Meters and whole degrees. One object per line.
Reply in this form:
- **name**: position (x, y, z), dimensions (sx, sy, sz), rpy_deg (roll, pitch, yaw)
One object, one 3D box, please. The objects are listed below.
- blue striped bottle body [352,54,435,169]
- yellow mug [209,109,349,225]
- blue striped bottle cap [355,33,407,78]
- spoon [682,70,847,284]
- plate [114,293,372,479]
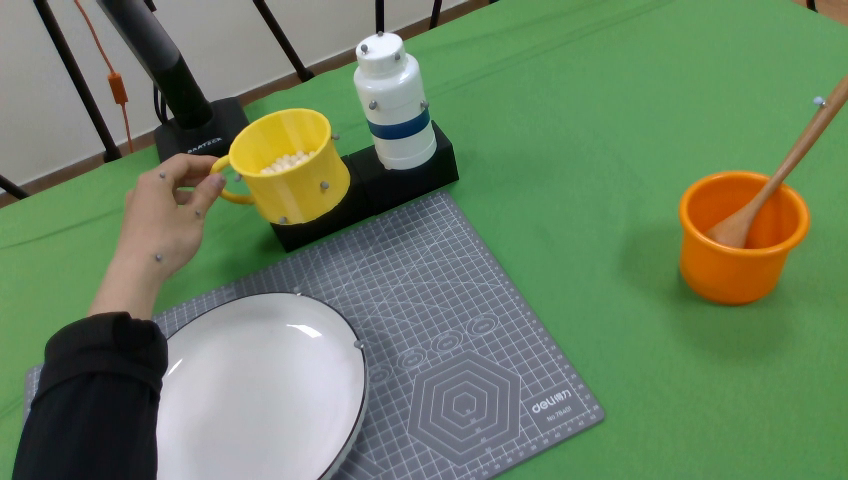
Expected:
- **blue striped bottle body**: position (-0.030, -0.132, 0.582), dimensions (0.063, 0.122, 0.062), rpy_deg (-8, 47, 9)
- **yellow mug**: position (-0.146, -0.068, 0.593), dimensions (0.131, 0.064, 0.099), rpy_deg (-16, 46, 1)
- **blue striped bottle cap**: position (-0.039, -0.166, 0.545), dimensions (0.044, 0.021, 0.044), rpy_deg (-9, 48, 10)
- **spoon**: position (0.267, -0.046, 0.471), dimensions (0.194, 0.022, 0.041), rpy_deg (-57, 45, 17)
- **plate**: position (-0.140, 0.136, 0.490), dimensions (0.207, 0.039, 0.205), rpy_deg (-7, 47, 8)
